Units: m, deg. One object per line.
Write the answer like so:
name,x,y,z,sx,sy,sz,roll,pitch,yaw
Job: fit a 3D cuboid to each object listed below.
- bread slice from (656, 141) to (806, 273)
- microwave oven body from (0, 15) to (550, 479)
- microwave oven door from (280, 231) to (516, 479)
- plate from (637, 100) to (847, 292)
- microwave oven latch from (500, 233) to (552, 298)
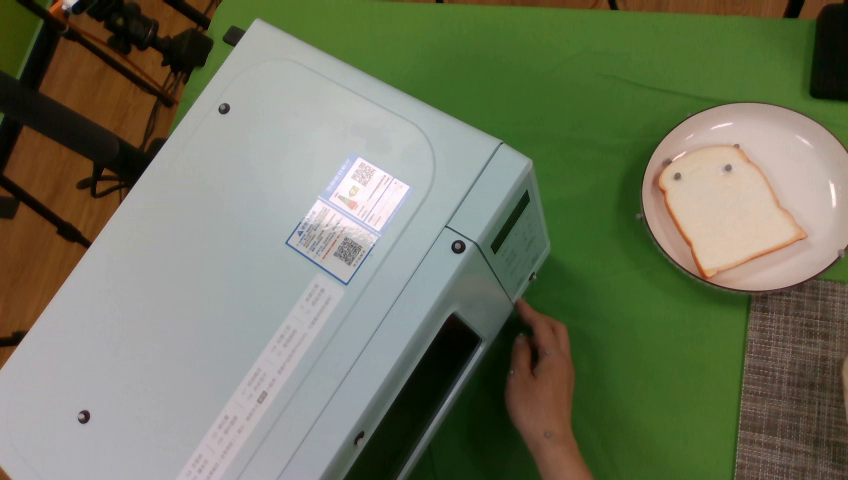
bread slice,0.308,-0.039,0.635,0.107,0.018,0.133,-26,67,3
microwave oven body,-0.133,0.071,0.599,0.324,0.262,0.441,31,84,21
microwave oven door,-0.041,0.174,0.537,0.039,0.246,0.355,31,83,22
plate,0.331,-0.045,0.632,0.207,0.039,0.206,-4,73,14
microwave oven latch,0.107,0.022,0.653,0.030,0.030,0.079,34,85,21
